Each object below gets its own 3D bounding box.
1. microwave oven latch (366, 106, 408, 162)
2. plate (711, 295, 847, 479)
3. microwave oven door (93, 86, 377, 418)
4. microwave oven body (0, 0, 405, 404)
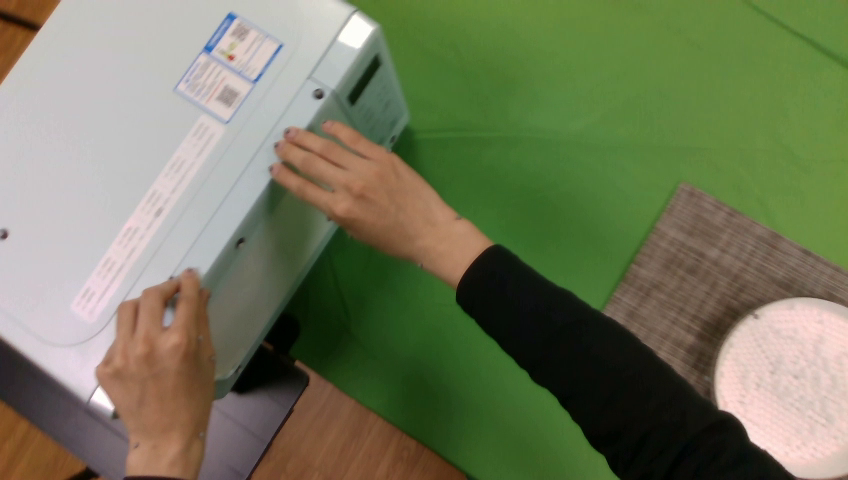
[{"bbox_3d":[-0.052,-0.141,0.784,0.030,0.029,0.079,34,87,10],"label":"microwave oven latch"},{"bbox_3d":[0.438,0.168,0.700,0.209,0.038,0.208,-1,81,6],"label":"plate"},{"bbox_3d":[-0.182,0.025,0.668,0.039,0.245,0.355,32,85,11],"label":"microwave oven door"},{"bbox_3d":[-0.282,-0.085,0.701,0.325,0.261,0.441,32,86,10],"label":"microwave oven body"}]
